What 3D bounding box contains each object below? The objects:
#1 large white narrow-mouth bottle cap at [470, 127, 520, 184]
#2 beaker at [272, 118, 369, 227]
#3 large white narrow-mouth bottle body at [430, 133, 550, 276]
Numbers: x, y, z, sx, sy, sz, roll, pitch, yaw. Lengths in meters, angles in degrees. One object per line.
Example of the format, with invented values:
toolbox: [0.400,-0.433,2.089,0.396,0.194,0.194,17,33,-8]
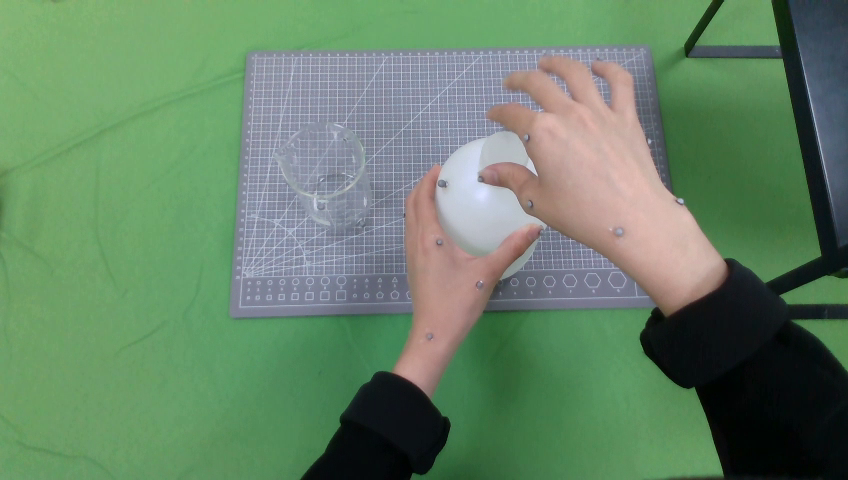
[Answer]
large white narrow-mouth bottle cap: [0.052,-0.060,0.440,0.038,0.024,0.037,0,74,1]
beaker: [-0.093,-0.060,0.579,0.084,0.101,0.073,8,72,3]
large white narrow-mouth bottle body: [0.056,-0.035,0.525,0.102,0.195,0.101,0,74,2]
